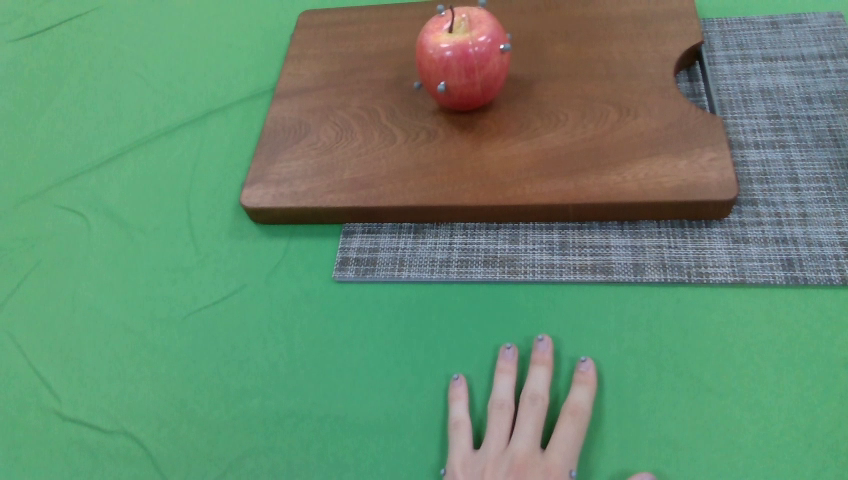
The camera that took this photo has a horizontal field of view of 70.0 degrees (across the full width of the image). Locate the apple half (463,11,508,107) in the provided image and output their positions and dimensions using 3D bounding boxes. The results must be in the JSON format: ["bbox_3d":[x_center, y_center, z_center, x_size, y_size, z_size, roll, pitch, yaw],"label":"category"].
[{"bbox_3d":[0.056,-0.156,0.519,0.033,0.082,0.080,-11,55,7],"label":"apple half"}]

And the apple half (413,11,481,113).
[{"bbox_3d":[0.018,-0.149,0.523,0.053,0.075,0.080,-11,58,8],"label":"apple half"}]
